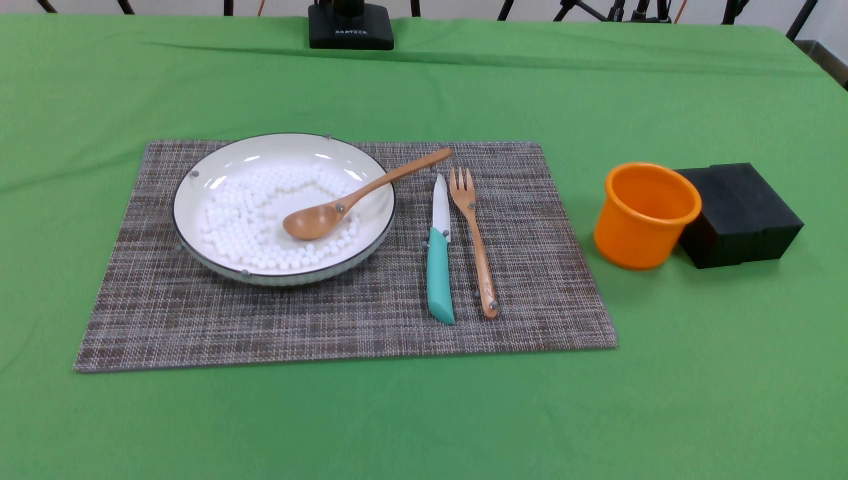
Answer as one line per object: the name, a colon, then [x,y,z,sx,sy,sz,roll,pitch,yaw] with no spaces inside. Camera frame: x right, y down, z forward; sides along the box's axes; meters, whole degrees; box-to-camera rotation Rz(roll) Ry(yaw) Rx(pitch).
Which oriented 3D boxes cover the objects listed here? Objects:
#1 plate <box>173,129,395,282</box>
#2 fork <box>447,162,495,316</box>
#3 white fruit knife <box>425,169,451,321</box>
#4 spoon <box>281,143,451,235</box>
plate: [-0.132,-0.035,0.594,0.209,0.038,0.207,4,45,-3]
fork: [0.048,-0.009,0.604,0.028,0.019,0.205,7,43,-16]
white fruit knife: [0.014,-0.006,0.602,0.027,0.016,0.205,28,38,-23]
spoon: [-0.052,-0.055,0.603,0.194,0.022,0.041,-30,54,-16]
